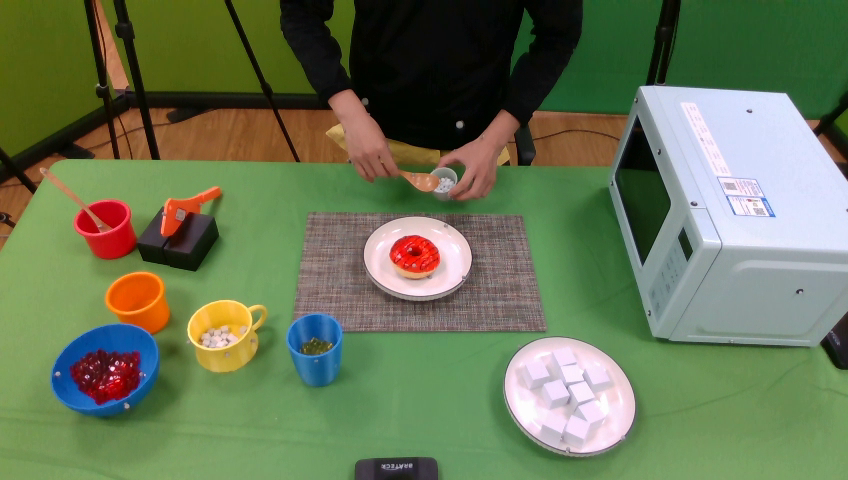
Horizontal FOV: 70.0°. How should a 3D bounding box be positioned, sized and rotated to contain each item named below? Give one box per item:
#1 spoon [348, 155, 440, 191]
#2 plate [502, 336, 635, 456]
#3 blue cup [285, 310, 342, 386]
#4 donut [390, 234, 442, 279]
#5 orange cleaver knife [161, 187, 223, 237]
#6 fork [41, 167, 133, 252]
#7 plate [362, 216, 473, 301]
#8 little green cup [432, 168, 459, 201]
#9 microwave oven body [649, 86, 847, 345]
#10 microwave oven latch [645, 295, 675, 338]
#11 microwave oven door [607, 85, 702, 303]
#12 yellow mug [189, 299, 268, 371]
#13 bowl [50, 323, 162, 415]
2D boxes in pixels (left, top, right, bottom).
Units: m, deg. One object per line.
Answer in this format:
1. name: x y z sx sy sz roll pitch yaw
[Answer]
1. spoon: -0.060 -0.138 1.191 0.193 0.022 0.041 20 71 7
2. plate: 0.225 0.248 0.963 0.208 0.039 0.206 2 46 -2
3. blue cup: -0.170 0.179 0.958 0.093 0.101 0.092 2 44 -1
4. donut: -0.016 0.031 1.135 0.099 0.048 0.098 4 44 -3
5. orange cleaver knife: -0.448 -0.058 1.181 0.012 0.077 0.211 13 17 6
6. fork: -0.624 -0.056 1.121 0.208 0.018 0.028 49 51 -15
7. plate: -0.012 0.038 1.144 0.209 0.038 0.208 2 46 -2
8. little green cup: 0.043 -0.111 1.216 0.061 0.039 0.061 -5 60 9
9. microwave oven body: 0.568 -0.053 1.118 0.326 0.261 0.439 2 45 -1
10. microwave oven latch: 0.412 0.134 1.061 0.030 0.029 0.078 3 45 0
11. microwave oven door: 0.423 -0.094 1.141 0.039 0.245 0.353 2 46 -1
12. yellow mug: -0.316 0.148 1.002 0.131 0.064 0.099 -32 56 -31
13. bowl: -0.472 0.209 0.924 0.151 0.077 0.150 2 45 -2
